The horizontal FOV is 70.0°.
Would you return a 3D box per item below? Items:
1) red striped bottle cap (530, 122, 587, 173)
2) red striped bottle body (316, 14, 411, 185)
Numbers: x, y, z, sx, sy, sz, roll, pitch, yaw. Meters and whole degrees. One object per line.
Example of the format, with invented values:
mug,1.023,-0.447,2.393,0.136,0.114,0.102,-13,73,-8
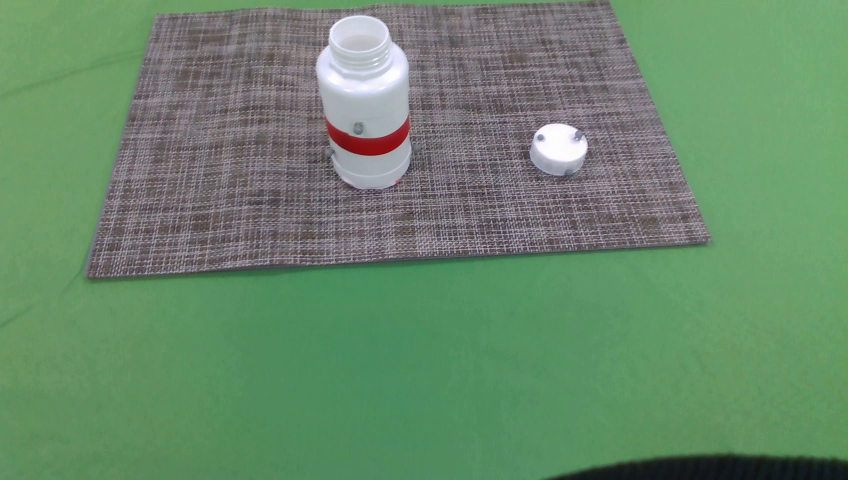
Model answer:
red striped bottle cap,0.108,-0.075,0.489,0.044,0.018,0.044,1,52,-1
red striped bottle body,-0.042,-0.100,0.437,0.063,0.120,0.062,0,56,0
